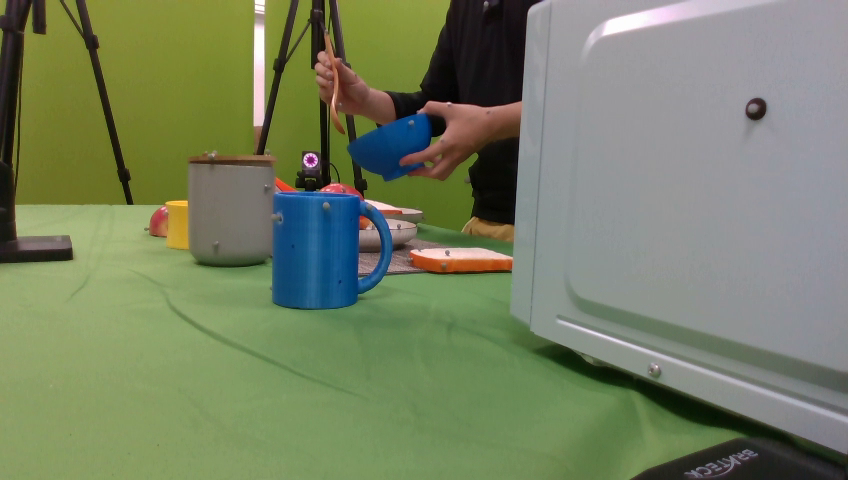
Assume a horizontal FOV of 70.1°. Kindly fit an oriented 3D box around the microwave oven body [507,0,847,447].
[{"bbox_3d":[0.331,-0.042,0.425,0.444,0.260,0.324,-2,8,-31],"label":"microwave oven body"}]

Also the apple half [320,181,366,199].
[{"bbox_3d":[-0.130,-0.077,0.952,0.081,0.033,0.081,3,15,0],"label":"apple half"}]

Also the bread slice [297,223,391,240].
[{"bbox_3d":[-0.121,-0.014,0.970,0.106,0.018,0.135,9,8,41],"label":"bread slice"}]

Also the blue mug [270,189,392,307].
[{"bbox_3d":[-0.090,0.005,0.588,0.117,0.106,0.082,1,7,-11],"label":"blue mug"}]

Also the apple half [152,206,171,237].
[{"bbox_3d":[-0.415,-0.034,1.017,0.081,0.053,0.074,1,10,-9],"label":"apple half"}]

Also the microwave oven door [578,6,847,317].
[{"bbox_3d":[0.294,-0.067,0.570,0.358,0.243,0.039,-3,9,-31],"label":"microwave oven door"}]

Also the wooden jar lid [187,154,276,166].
[{"bbox_3d":[-0.244,-0.097,0.771,0.108,0.020,0.108,-1,7,0],"label":"wooden jar lid"}]

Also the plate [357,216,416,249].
[{"bbox_3d":[-0.116,-0.014,0.967,0.208,0.039,0.207,2,7,0],"label":"plate"}]

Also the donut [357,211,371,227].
[{"bbox_3d":[-0.132,-0.041,0.959,0.099,0.048,0.099,3,8,0],"label":"donut"}]

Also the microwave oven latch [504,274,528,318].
[{"bbox_3d":[0.100,0.041,0.471,0.079,0.029,0.030,-1,7,-27],"label":"microwave oven latch"}]

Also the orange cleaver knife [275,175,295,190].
[{"bbox_3d":[-0.283,-0.087,1.343,0.212,0.077,0.012,24,-16,-41],"label":"orange cleaver knife"}]

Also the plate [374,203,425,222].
[{"bbox_3d":[-0.102,-0.053,1.299,0.209,0.038,0.209,2,8,0],"label":"plate"}]

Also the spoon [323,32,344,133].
[{"bbox_3d":[-0.155,-0.272,1.037,0.021,0.193,0.041,-7,-17,0],"label":"spoon"}]

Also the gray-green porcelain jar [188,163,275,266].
[{"bbox_3d":[-0.246,-0.034,0.780,0.106,0.126,0.106,2,7,0],"label":"gray-green porcelain jar"}]

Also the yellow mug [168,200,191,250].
[{"bbox_3d":[-0.320,-0.022,0.904,0.130,0.064,0.100,8,10,36],"label":"yellow mug"}]

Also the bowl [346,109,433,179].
[{"bbox_3d":[-0.045,-0.151,1.009,0.151,0.077,0.151,-23,2,1],"label":"bowl"}]

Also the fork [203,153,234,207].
[{"bbox_3d":[-0.480,-0.134,1.411,0.028,0.018,0.207,1,-35,0],"label":"fork"}]

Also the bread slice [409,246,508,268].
[{"bbox_3d":[0.048,0.021,0.816,0.132,0.019,0.104,0,6,-24],"label":"bread slice"}]
